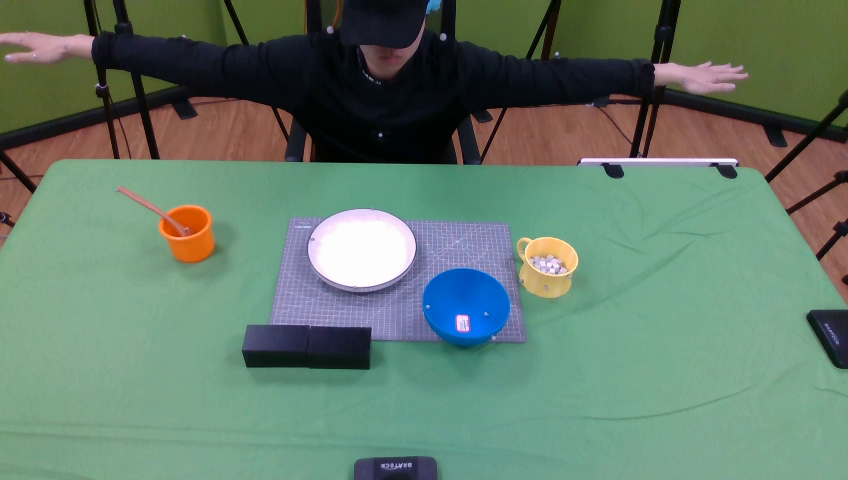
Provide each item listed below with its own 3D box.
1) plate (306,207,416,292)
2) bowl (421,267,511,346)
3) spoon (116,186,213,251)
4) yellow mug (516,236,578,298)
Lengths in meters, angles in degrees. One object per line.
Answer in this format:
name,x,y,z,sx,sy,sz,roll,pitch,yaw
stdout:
plate,-0.119,0.021,1.153,0.209,0.038,0.208,2,46,-2
bowl,0.068,0.128,1.037,0.151,0.077,0.150,3,46,-2
spoon,-0.474,-0.041,1.112,0.021,0.195,0.041,-30,32,30
yellow mug,0.223,0.041,1.145,0.100,0.064,0.130,-30,54,-29
